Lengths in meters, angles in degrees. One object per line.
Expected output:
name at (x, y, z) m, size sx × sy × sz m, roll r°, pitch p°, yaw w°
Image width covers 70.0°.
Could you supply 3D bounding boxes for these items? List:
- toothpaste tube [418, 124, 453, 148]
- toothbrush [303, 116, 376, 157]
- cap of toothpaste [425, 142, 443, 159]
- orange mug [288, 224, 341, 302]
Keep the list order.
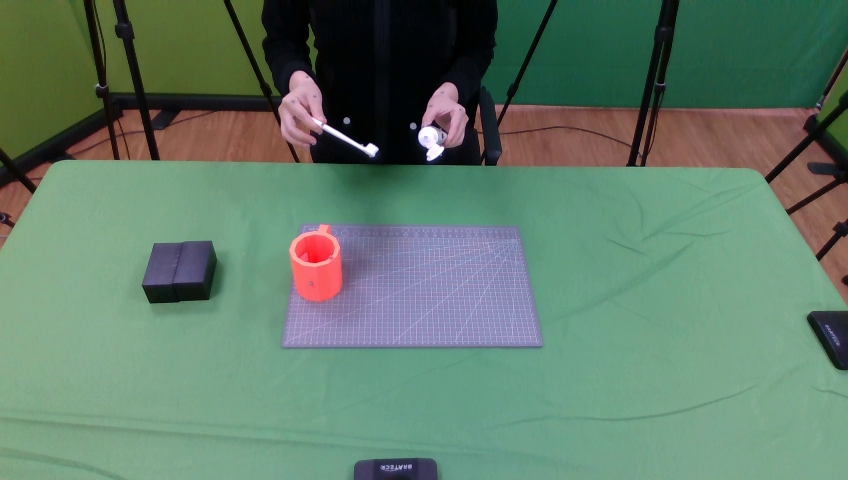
toothpaste tube at (0.019, -0.188, 1.080) m, size 0.055 × 0.034 × 0.165 m, roll 32°, pitch 18°, yaw 0°
toothbrush at (-0.143, -0.175, 1.001) m, size 0.181 × 0.014 × 0.016 m, roll 31°, pitch 84°, yaw 35°
cap of toothpaste at (0.016, -0.149, 0.999) m, size 0.037 × 0.011 × 0.037 m, roll -33°, pitch 26°, yaw 19°
orange mug at (-0.192, 0.034, 1.094) m, size 0.083 × 0.101 × 0.125 m, roll 7°, pitch 50°, yaw 2°
